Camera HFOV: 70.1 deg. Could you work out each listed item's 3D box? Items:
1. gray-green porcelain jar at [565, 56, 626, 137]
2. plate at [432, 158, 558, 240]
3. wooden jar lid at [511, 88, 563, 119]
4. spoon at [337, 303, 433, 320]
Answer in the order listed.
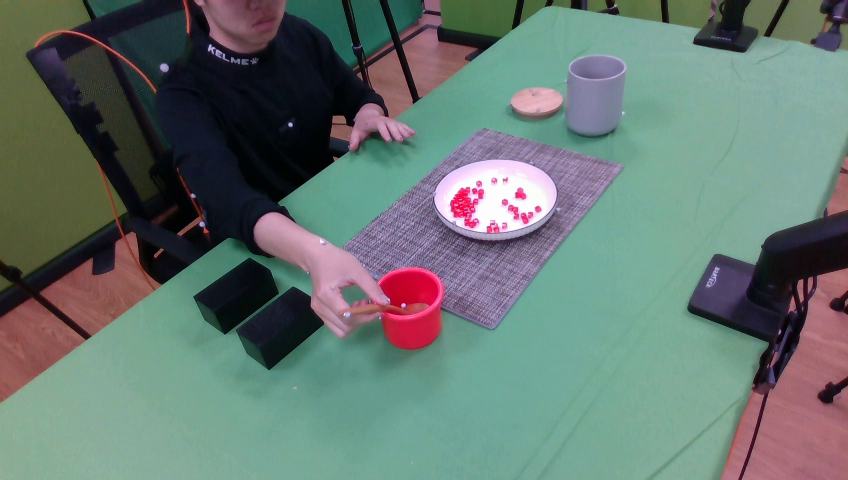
[{"bbox_3d":[0.325,-0.271,1.159,0.106,0.127,0.105,-4,41,4],"label":"gray-green porcelain jar"},{"bbox_3d":[0.118,-0.066,1.013,0.207,0.039,0.206,-4,41,4],"label":"plate"},{"bbox_3d":[0.237,-0.286,1.272,0.108,0.021,0.108,-5,42,5],"label":"wooden jar lid"},{"bbox_3d":[-0.048,0.091,0.777,0.041,0.021,0.195,22,5,31],"label":"spoon"}]
